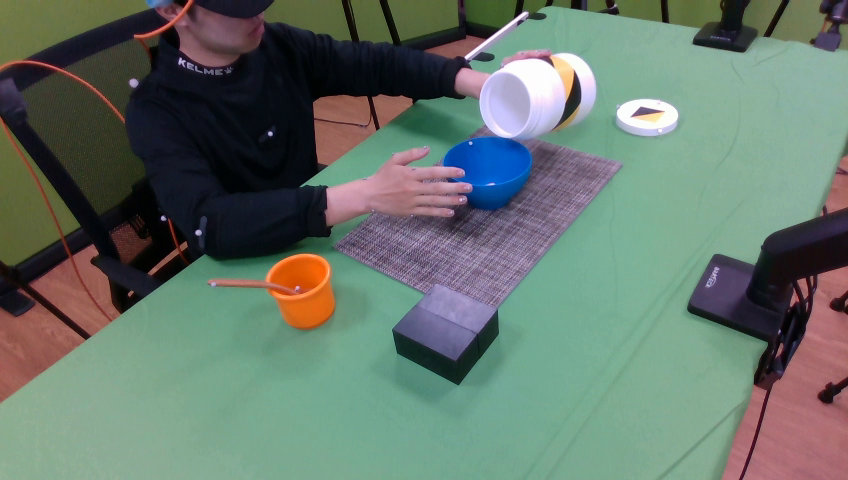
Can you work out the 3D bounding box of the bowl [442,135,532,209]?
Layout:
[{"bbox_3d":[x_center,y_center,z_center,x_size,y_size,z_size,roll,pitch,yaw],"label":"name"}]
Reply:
[{"bbox_3d":[0.108,-0.106,1.026,0.151,0.077,0.150,-4,41,4],"label":"bowl"}]

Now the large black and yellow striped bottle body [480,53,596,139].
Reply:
[{"bbox_3d":[0.195,-0.247,1.038,0.129,0.131,0.185,29,36,35],"label":"large black and yellow striped bottle body"}]

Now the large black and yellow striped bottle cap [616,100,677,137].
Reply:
[{"bbox_3d":[0.438,-0.241,1.190,0.115,0.019,0.114,-4,42,4],"label":"large black and yellow striped bottle cap"}]

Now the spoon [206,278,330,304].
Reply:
[{"bbox_3d":[-0.207,0.066,0.824,0.041,0.195,0.021,33,100,41],"label":"spoon"}]
